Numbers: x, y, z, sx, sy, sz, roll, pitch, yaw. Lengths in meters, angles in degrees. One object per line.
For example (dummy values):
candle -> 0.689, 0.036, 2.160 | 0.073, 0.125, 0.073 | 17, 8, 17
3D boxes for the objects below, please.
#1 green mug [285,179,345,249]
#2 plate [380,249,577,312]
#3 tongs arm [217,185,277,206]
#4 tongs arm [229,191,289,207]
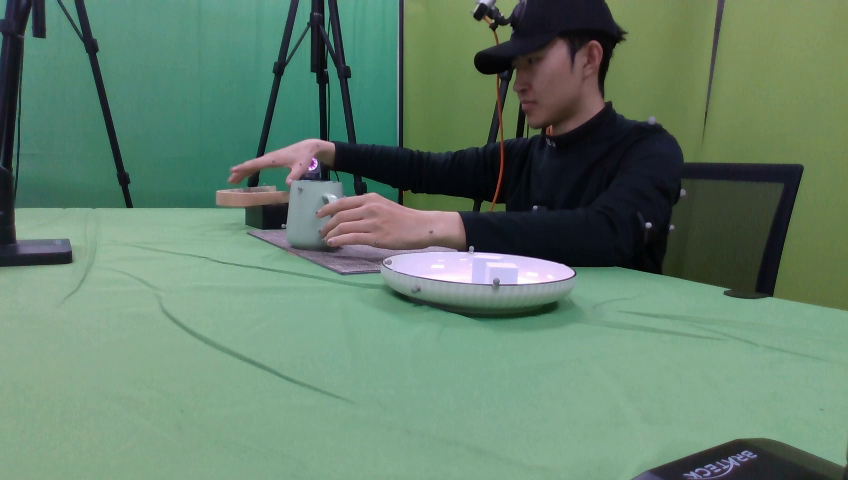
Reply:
green mug -> -0.161, -0.040, 0.936 | 0.093, 0.105, 0.124 | -2, 8, -32
plate -> 0.056, 0.042, 0.646 | 0.209, 0.038, 0.209 | 2, 7, 0
tongs arm -> -0.361, -0.099, 1.295 | 0.051, 0.026, 0.385 | 6, 7, 5
tongs arm -> -0.284, -0.093, 1.283 | 0.028, 0.028, 0.388 | 11, 9, 16
